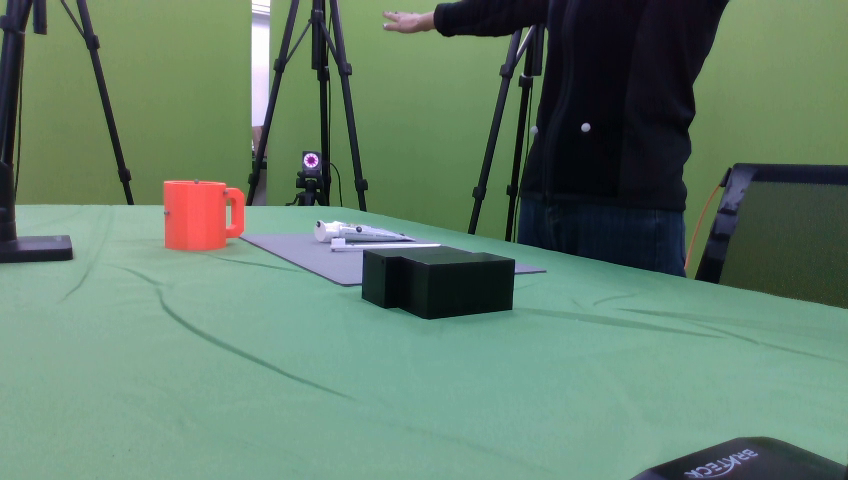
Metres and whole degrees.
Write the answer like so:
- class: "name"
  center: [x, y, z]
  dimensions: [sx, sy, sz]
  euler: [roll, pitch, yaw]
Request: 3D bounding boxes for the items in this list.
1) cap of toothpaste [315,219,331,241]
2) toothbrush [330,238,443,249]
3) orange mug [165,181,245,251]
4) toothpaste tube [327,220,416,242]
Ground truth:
- class: "cap of toothpaste"
  center: [-0.164, -0.016, 0.982]
  dimensions: [0.011, 0.037, 0.037]
  euler: [-8, 12, -43]
- class: "toothbrush"
  center: [-0.054, 0.006, 0.927]
  dimensions: [0.183, 0.016, 0.014]
  euler: [1, -8, -23]
- class: "orange mug"
  center: [-0.326, -0.040, 0.911]
  dimensions: [0.083, 0.101, 0.127]
  euler: [8, 14, 37]
- class: "toothpaste tube"
  center: [-0.095, -0.012, 1.026]
  dimensions: [0.166, 0.034, 0.055]
  euler: [2, 13, -33]
